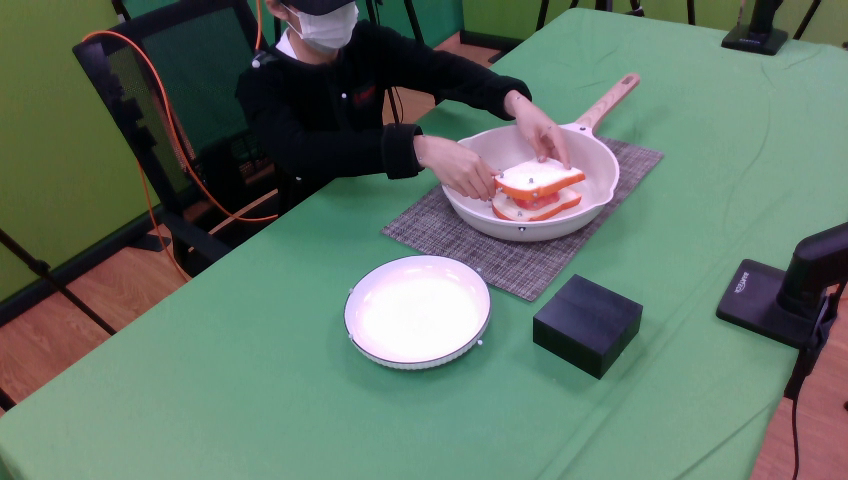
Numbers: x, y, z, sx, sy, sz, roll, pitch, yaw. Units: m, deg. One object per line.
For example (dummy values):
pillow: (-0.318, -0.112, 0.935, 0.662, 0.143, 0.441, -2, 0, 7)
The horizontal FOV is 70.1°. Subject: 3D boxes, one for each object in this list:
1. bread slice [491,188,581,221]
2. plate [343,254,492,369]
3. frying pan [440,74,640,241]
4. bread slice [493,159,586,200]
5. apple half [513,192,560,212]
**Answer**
bread slice: (0.182, -0.065, 1.017, 0.135, 0.018, 0.106, -28, 42, -25)
plate: (-0.008, 0.100, 0.847, 0.207, 0.039, 0.206, -4, 40, 4)
frying pan: (0.245, -0.161, 1.058, 0.304, 0.103, 0.489, 30, 61, 35)
bread slice: (0.181, -0.099, 0.984, 0.132, 0.019, 0.104, -20, 32, -29)
apple half: (0.183, -0.083, 1.003, 0.081, 0.033, 0.081, -3, 40, 3)
